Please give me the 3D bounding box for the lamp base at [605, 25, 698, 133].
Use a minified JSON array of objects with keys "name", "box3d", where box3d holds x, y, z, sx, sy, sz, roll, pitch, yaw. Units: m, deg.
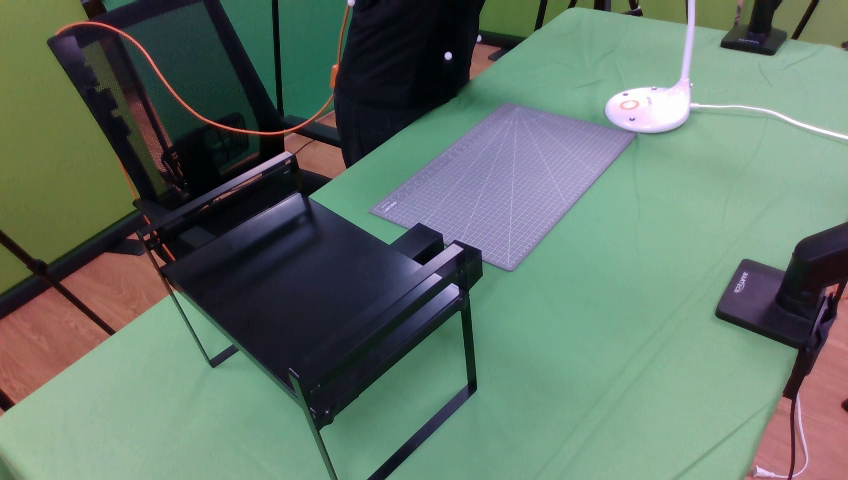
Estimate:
[{"name":"lamp base","box3d":[0.449,-0.321,1.161,0.179,0.181,0.159,-6,41,-2]}]
